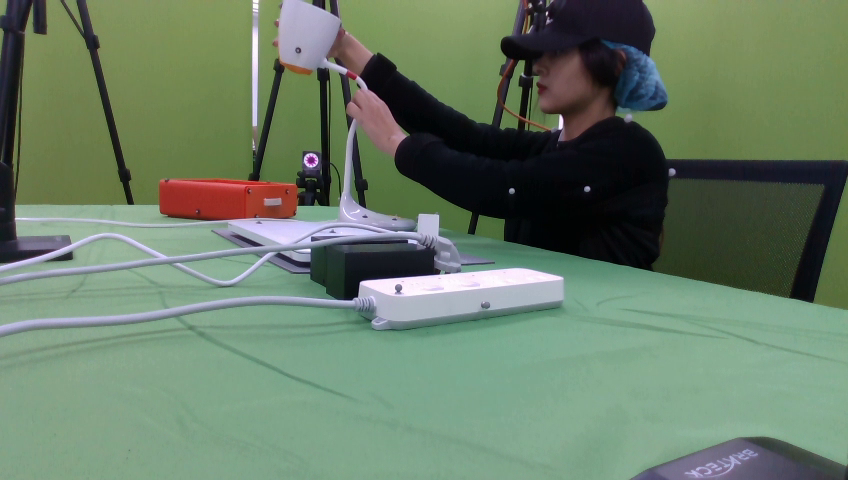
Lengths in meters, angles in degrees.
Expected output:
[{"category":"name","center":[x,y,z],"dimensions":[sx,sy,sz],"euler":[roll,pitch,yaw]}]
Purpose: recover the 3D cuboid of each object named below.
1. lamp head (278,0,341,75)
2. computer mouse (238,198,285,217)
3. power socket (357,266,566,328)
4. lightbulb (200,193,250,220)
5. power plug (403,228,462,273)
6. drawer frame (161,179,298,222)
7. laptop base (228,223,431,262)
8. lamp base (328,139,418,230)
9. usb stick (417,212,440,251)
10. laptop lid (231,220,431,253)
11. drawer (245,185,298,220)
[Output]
[{"category":"lamp head","center":[-0.220,-0.371,1.130],"dimensions":[0.112,0.123,0.112],"euler":[14,11,-2]},{"category":"computer mouse","center":[-0.354,-0.071,1.325],"dimensions":[0.063,0.041,0.117],"euler":[3,3,11]},{"category":"power socket","center":[0.042,0.049,0.573],"dimensions":[0.228,0.032,0.072],"euler":[-3,8,-34]},{"category":"lightbulb","center":[-0.433,-0.079,1.319],"dimensions":[0.108,0.059,0.059],"euler":[-17,13,-16]},{"category":"power plug","center":[0.006,0.016,0.647],"dimensions":[0.073,0.052,0.035],"euler":[17,11,-6]},{"category":"drawer frame","center":[-0.420,-0.089,1.328],"dimensions":[0.213,0.082,0.202],"euler":[4,8,18]},{"category":"laptop base","center":[-0.145,0.002,0.943],"dimensions":[0.237,0.023,0.352],"euler":[2,6,-32]},{"category":"lamp base","center":[-0.102,-0.112,1.212],"dimensions":[0.180,0.180,0.160],"euler":[-2,7,-13]},{"category":"usb stick","center":[0.005,-0.003,0.721],"dimensions":[0.027,0.059,0.021],"euler":[0,-3,-2]},{"category":"laptop lid","center":[-0.142,-0.009,0.942],"dimensions":[0.243,0.013,0.355],"euler":[1,7,-31]},{"category":"drawer","center":[-0.416,-0.086,1.329],"dimensions":[0.211,0.073,0.195],"euler":[4,8,18]}]
